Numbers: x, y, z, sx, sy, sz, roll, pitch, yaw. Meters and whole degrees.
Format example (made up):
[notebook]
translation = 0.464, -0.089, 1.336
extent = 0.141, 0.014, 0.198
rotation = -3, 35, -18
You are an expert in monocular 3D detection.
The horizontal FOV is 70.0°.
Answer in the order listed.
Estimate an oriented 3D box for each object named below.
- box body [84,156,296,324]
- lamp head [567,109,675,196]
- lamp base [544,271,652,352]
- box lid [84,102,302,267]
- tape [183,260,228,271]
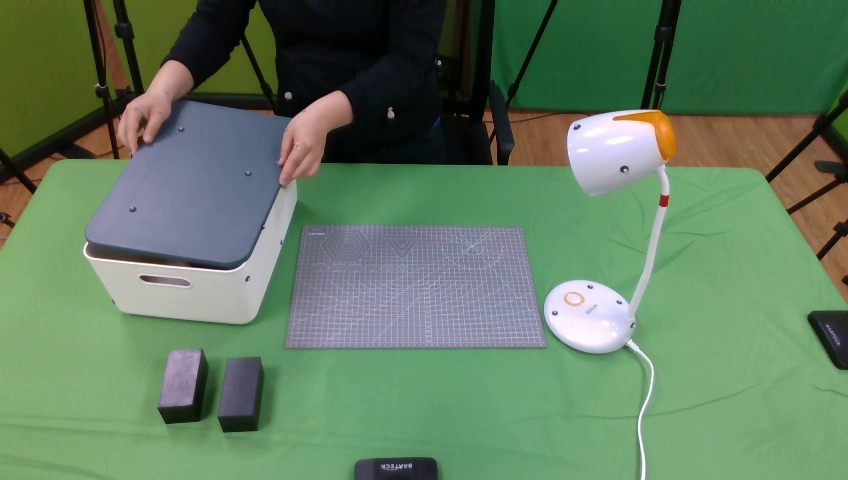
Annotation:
[box body]
translation = -0.392, -0.035, 1.104
extent = 0.254, 0.161, 0.362
rotation = 5, 46, 1
[lamp head]
translation = 0.272, -0.123, 0.818
extent = 0.122, 0.113, 0.112
rotation = -9, 35, 37
[lamp base]
translation = 0.310, 0.086, 1.029
extent = 0.178, 0.181, 0.160
rotation = 32, 52, 21
[box lid]
translation = -0.380, -0.110, 1.045
extent = 0.263, 0.015, 0.369
rotation = 9, 49, 1
[tape]
translation = -0.400, 0.005, 1.133
extent = 0.117, 0.053, 0.116
rotation = 2, 46, -2
